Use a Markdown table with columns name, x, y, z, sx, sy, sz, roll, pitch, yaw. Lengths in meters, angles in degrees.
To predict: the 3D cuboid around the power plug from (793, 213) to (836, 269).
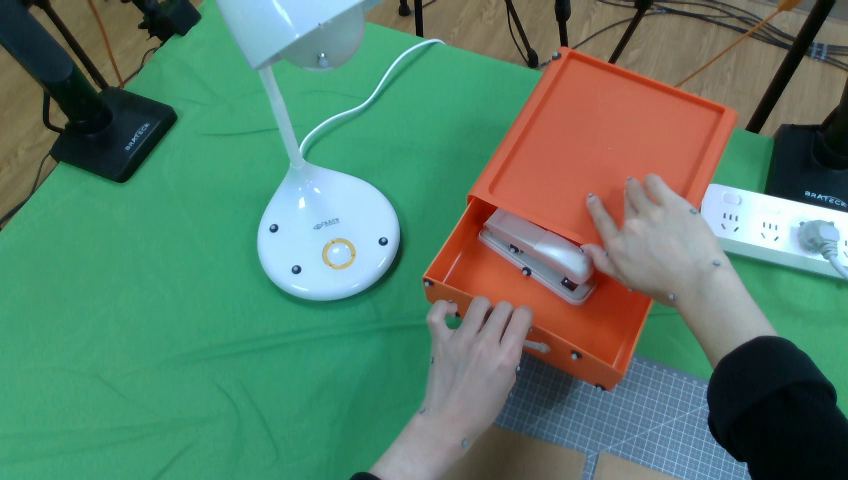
| name | x | y | z | sx | sy | sz | roll | pitch | yaw |
| --- | --- | --- | --- | --- | --- | --- | --- | --- | --- |
| power plug | 0.400 | 0.004 | 0.630 | 0.035 | 0.053 | 0.072 | 24 | 65 | 14 |

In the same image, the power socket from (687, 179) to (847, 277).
| name | x | y | z | sx | sy | sz | roll | pitch | yaw |
| --- | --- | --- | --- | --- | --- | --- | --- | --- | --- |
| power socket | 0.401 | -0.012 | 0.665 | 0.226 | 0.033 | 0.072 | 14 | 63 | 9 |

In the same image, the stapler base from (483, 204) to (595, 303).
| name | x | y | z | sx | sy | sz | roll | pitch | yaw |
| --- | --- | --- | --- | --- | --- | --- | --- | --- | --- |
| stapler base | 0.110 | 0.009 | 0.602 | 0.129 | 0.024 | 0.041 | 43 | 101 | 29 |

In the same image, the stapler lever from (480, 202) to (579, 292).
| name | x | y | z | sx | sy | sz | roll | pitch | yaw |
| --- | --- | --- | --- | --- | --- | --- | --- | --- | --- |
| stapler lever | 0.099 | 0.006 | 0.586 | 0.117 | 0.040 | 0.027 | 42 | 100 | 23 |

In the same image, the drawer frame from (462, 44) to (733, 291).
| name | x | y | z | sx | sy | sz | roll | pitch | yaw |
| --- | --- | --- | --- | --- | --- | --- | --- | --- | --- |
| drawer frame | 0.175 | -0.073 | 0.624 | 0.201 | 0.083 | 0.213 | 25 | 68 | 15 |

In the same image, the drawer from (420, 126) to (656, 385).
| name | x | y | z | sx | sy | sz | roll | pitch | yaw |
| --- | --- | --- | --- | --- | --- | --- | --- | --- | --- |
| drawer | 0.131 | 0.003 | 0.591 | 0.193 | 0.074 | 0.211 | 25 | 68 | 16 |

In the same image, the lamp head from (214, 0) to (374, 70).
| name | x | y | z | sx | sy | sz | roll | pitch | yaw |
| --- | --- | --- | --- | --- | --- | --- | --- | --- | --- |
| lamp head | -0.087 | -0.178 | 0.356 | 0.112 | 0.112 | 0.123 | -37 | 104 | -17 |

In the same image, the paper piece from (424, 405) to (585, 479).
| name | x | y | z | sx | sy | sz | roll | pitch | yaw |
| --- | --- | --- | --- | --- | --- | --- | --- | --- | --- |
| paper piece | 0.065 | 0.234 | 0.551 | 0.135 | 0.009 | 0.137 | 14 | 64 | 13 |

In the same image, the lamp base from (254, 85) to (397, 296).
| name | x | y | z | sx | sy | sz | roll | pitch | yaw |
| --- | --- | --- | --- | --- | --- | --- | --- | --- | --- |
| lamp base | -0.120 | -0.057 | 0.621 | 0.160 | 0.182 | 0.177 | -30 | 61 | -14 |

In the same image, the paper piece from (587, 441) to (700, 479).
| name | x | y | z | sx | sy | sz | roll | pitch | yaw |
| --- | --- | --- | --- | --- | --- | --- | --- | --- | --- |
| paper piece | 0.201 | 0.264 | 0.529 | 0.135 | 0.004 | 0.135 | 19 | 64 | 12 |
